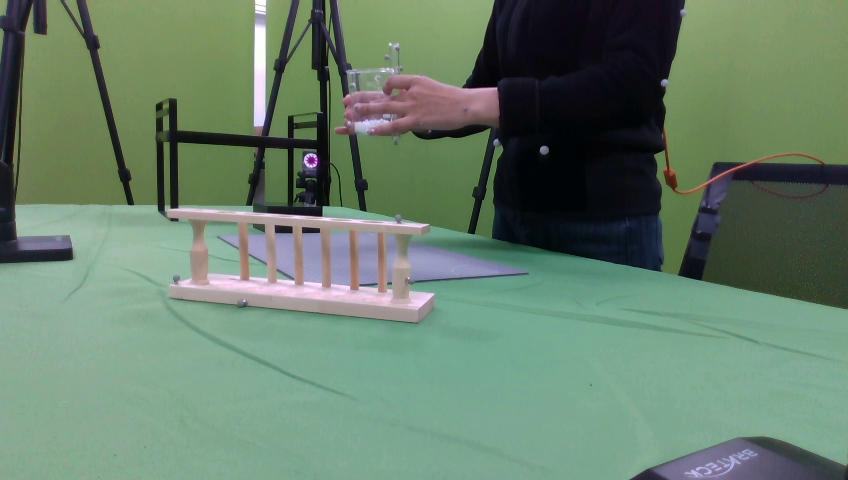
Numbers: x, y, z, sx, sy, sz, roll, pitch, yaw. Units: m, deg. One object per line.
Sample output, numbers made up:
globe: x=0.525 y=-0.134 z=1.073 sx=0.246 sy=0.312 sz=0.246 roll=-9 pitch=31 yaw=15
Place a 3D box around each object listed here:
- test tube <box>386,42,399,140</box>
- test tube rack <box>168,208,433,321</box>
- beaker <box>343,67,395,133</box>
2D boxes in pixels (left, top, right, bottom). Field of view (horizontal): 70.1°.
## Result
test tube: x=-0.048 y=-0.227 z=0.933 sx=0.017 sy=0.150 sz=0.017 roll=0 pitch=29 yaw=0
test tube rack: x=-0.116 y=0.017 z=0.574 sx=0.242 sy=0.085 sz=0.067 roll=4 pitch=8 yaw=13
beaker: x=-0.083 y=-0.225 z=0.975 sx=0.083 sy=0.100 sz=0.074 roll=4 pitch=17 yaw=26
